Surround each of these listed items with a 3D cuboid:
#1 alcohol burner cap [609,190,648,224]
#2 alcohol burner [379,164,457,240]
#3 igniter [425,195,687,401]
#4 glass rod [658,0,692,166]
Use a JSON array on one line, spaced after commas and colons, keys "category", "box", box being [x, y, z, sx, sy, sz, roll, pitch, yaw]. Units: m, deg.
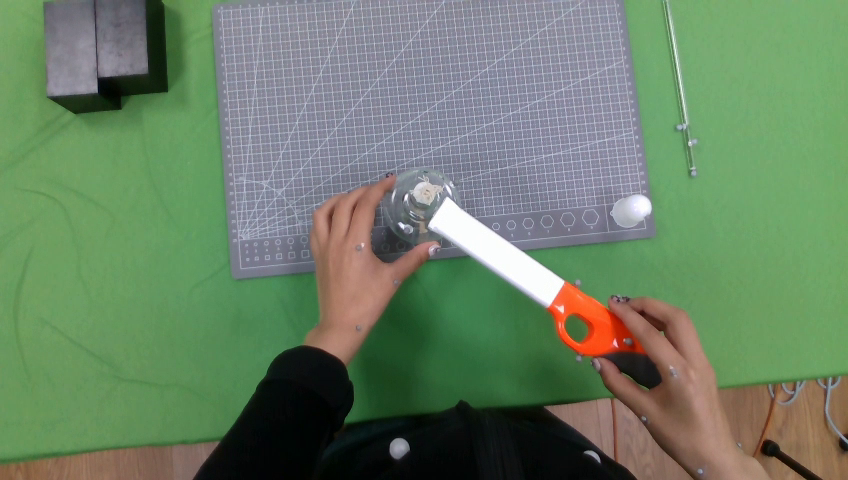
[{"category": "alcohol burner cap", "box": [0.216, -0.037, 0.632, 0.034, 0.048, 0.034, 0, 83, -2]}, {"category": "alcohol burner", "box": [-0.005, -0.040, 0.588, 0.078, 0.119, 0.077, 0, 82, -3]}, {"category": "igniter", "box": [0.121, 0.052, 0.535, 0.277, 0.025, 0.057, 35, 82, -4]}, {"category": "glass rod", "box": [0.277, -0.179, 0.668, 0.008, 0.008, 0.199, -7, 85, -3]}]
